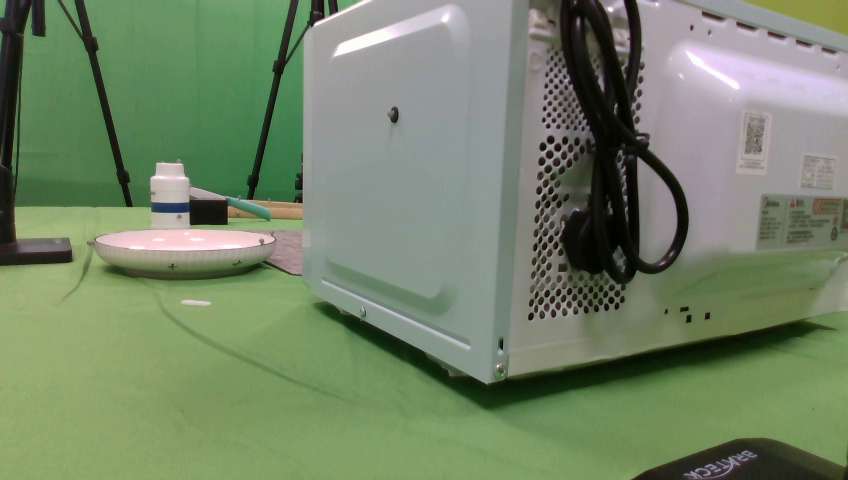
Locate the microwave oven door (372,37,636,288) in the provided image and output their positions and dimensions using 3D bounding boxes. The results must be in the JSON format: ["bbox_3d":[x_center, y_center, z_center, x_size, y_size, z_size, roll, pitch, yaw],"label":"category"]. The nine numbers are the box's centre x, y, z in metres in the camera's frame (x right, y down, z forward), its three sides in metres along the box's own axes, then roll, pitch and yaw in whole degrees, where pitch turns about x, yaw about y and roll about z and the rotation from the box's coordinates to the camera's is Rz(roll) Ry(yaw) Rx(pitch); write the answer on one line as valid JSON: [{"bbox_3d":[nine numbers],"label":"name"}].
[{"bbox_3d":[0.110,-0.080,0.686,0.358,0.243,0.039,-2,9,-33],"label":"microwave oven door"}]

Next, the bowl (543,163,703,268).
[{"bbox_3d":[0.181,-0.020,0.585,0.151,0.077,0.151,13,7,-1],"label":"bowl"}]

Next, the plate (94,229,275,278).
[{"bbox_3d":[-0.291,0.016,0.749,0.208,0.039,0.207,2,7,0],"label":"plate"}]

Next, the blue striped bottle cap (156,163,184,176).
[{"bbox_3d":[-0.438,-0.122,1.045,0.044,0.020,0.044,5,6,0],"label":"blue striped bottle cap"}]

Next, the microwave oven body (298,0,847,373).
[{"bbox_3d":[0.151,-0.055,0.542,0.444,0.260,0.324,-1,7,-33],"label":"microwave oven body"}]

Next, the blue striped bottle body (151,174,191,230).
[{"bbox_3d":[-0.439,-0.071,1.052,0.063,0.120,0.063,2,7,0],"label":"blue striped bottle body"}]

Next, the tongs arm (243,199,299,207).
[{"bbox_3d":[-0.309,-0.079,1.487,0.385,0.026,0.050,3,7,-2],"label":"tongs arm"}]

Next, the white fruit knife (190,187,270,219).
[{"bbox_3d":[-0.413,-0.081,1.270,0.208,0.027,0.016,17,14,-41],"label":"white fruit knife"}]

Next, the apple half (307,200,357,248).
[{"bbox_3d":[-0.135,-0.024,0.941,0.053,0.074,0.081,13,8,38],"label":"apple half"}]

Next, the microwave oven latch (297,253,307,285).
[{"bbox_3d":[-0.082,0.027,0.582,0.079,0.029,0.030,-1,7,-33],"label":"microwave oven latch"}]

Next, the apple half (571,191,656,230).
[{"bbox_3d":[0.181,-0.030,0.584,0.081,0.033,0.081,10,-5,1],"label":"apple half"}]

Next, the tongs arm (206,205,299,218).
[{"bbox_3d":[-0.302,-0.065,1.407,0.389,0.028,0.028,1,4,-15],"label":"tongs arm"}]
